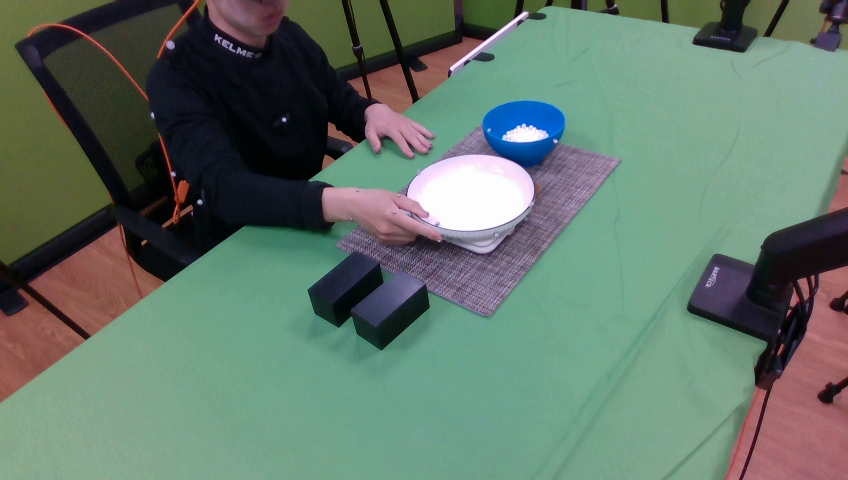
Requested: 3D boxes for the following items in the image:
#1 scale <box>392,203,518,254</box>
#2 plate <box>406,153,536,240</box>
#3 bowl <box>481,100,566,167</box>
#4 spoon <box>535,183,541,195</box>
[{"bbox_3d":[0.061,-0.050,1.006,0.199,0.032,0.149,22,48,30],"label":"scale"},{"bbox_3d":[0.075,-0.067,0.973,0.209,0.038,0.208,-4,41,4],"label":"plate"},{"bbox_3d":[0.183,-0.187,1.111,0.151,0.077,0.150,-4,41,4],"label":"bowl"},{"bbox_3d":[0.120,-0.108,1.071,0.192,0.022,0.041,22,62,31],"label":"spoon"}]
